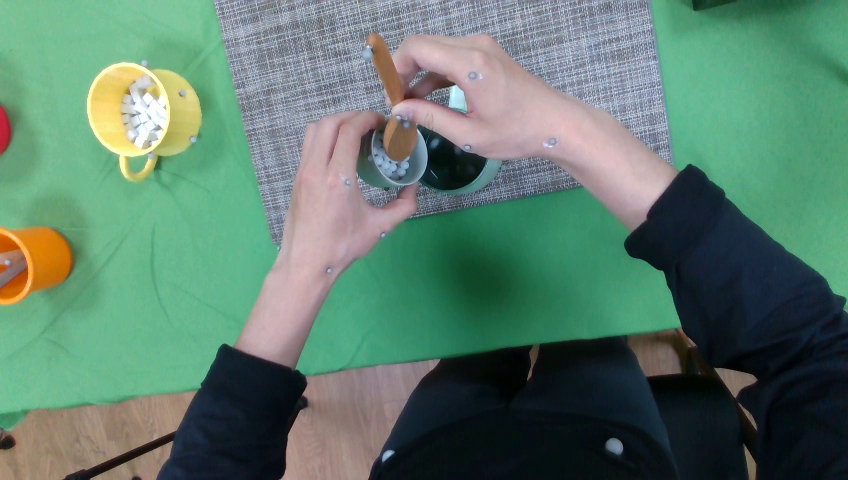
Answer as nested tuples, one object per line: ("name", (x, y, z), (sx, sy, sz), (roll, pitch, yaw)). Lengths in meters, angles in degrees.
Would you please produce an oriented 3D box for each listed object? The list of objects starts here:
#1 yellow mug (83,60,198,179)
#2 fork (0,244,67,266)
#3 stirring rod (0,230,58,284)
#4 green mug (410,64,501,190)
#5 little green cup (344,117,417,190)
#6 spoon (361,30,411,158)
("yellow mug", (-0.319, -0.132, 0.682), (0.100, 0.064, 0.131), (15, 103, 6))
("fork", (-0.535, 0.019, 0.702), (0.208, 0.018, 0.028), (0, 100, -34))
("stirring rod", (-0.506, 0.050, 0.708), (0.014, 0.006, 0.175), (40, 62, 0))
("green mug", (0.030, -0.111, 0.602), (0.092, 0.105, 0.125), (7, 100, 9))
("little green cup", (-0.041, -0.080, 0.550), (0.038, 0.062, 0.061), (43, 107, 39))
("spoon", (-0.025, -0.102, 0.445), (0.021, 0.194, 0.041), (32, 82, 5))
